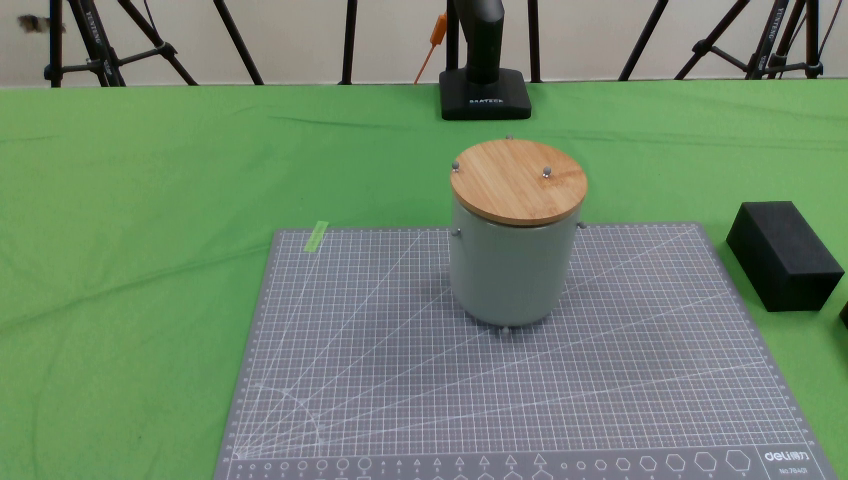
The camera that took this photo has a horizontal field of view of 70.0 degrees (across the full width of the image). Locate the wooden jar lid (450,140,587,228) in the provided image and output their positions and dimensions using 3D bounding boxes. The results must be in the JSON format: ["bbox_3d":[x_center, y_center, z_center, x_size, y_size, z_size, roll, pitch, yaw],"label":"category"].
[{"bbox_3d":[0.074,-0.043,0.483,0.108,0.021,0.107,0,41,0],"label":"wooden jar lid"}]

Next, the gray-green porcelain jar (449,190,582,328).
[{"bbox_3d":[0.074,0.005,0.527,0.106,0.127,0.105,0,42,0],"label":"gray-green porcelain jar"}]
